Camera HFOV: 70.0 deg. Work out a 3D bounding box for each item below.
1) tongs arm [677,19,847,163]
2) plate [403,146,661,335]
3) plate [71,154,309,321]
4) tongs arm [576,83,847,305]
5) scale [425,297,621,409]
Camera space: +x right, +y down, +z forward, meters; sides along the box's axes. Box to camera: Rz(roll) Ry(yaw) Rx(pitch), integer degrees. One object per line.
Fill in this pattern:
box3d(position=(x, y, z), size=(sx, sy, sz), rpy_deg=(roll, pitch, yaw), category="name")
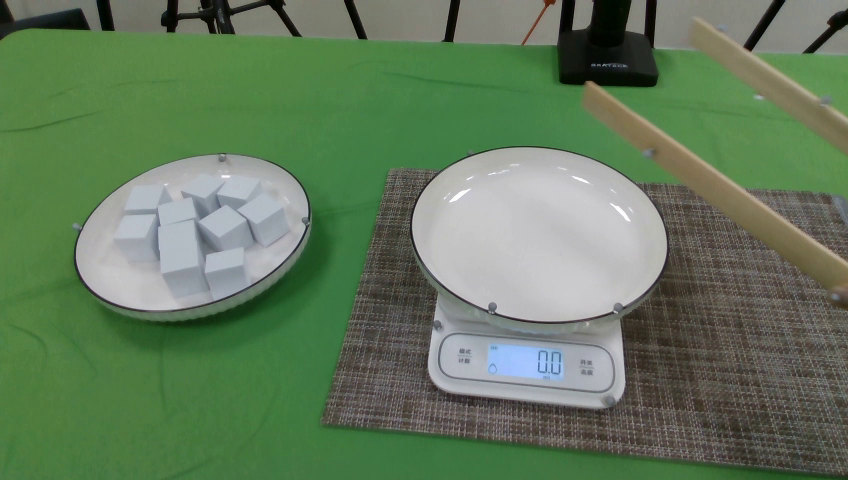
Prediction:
box3d(position=(0.286, -0.022, 0.369), size=(0.051, 0.027, 0.381), rpy_deg=(-32, 60, -14), category="tongs arm")
box3d(position=(0.087, -0.001, 0.507), size=(0.208, 0.039, 0.205), rpy_deg=(0, 46, 0), category="plate")
box3d(position=(-0.210, -0.003, 0.564), size=(0.209, 0.038, 0.207), rpy_deg=(0, 45, 1), category="plate")
box3d(position=(0.239, 0.010, 0.356), size=(0.028, 0.028, 0.384), rpy_deg=(-36, 61, -20), category="tongs arm")
box3d(position=(0.085, 0.043, 0.510), size=(0.148, 0.032, 0.199), rpy_deg=(5, 46, 7), category="scale")
